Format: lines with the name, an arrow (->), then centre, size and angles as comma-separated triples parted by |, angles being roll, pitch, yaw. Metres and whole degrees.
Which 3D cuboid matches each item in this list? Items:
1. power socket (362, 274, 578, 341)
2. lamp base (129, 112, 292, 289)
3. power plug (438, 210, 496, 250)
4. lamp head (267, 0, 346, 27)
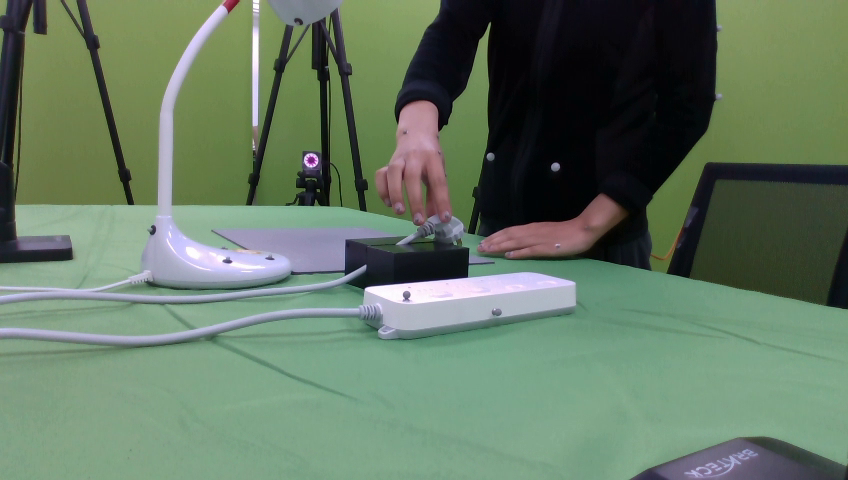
power socket -> 0.048, 0.056, 0.549 | 0.228, 0.032, 0.072 | -3, 8, -35
lamp base -> -0.233, -0.045, 0.658 | 0.160, 0.180, 0.180 | 7, 11, 29
power plug -> 0.048, -0.007, 0.685 | 0.072, 0.053, 0.035 | 14, 55, 33
lamp head -> -0.157, -0.326, 0.701 | 0.112, 0.112, 0.123 | 6, -16, 26
